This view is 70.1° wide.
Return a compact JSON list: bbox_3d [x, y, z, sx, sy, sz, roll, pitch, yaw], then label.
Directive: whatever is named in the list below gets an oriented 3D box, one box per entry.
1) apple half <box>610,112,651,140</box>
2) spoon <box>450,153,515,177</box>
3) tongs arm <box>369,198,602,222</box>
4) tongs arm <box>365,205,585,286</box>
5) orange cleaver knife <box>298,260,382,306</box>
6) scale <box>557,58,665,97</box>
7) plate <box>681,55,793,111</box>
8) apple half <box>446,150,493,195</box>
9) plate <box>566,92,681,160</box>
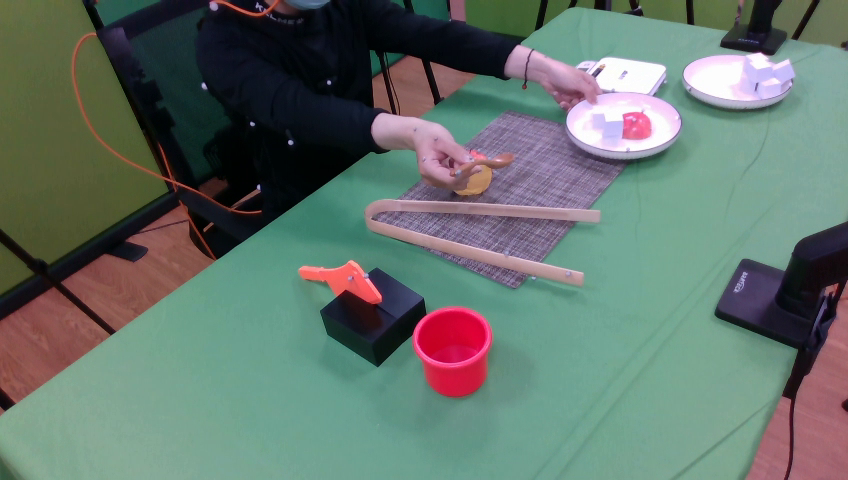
[{"bbox_3d":[0.391,-0.222,1.140,0.081,0.033,0.081,-2,43,3],"label":"apple half"},{"bbox_3d":[0.081,-0.107,0.855,0.041,0.021,0.195,1,10,30],"label":"spoon"},{"bbox_3d":[0.097,-0.048,1.008,0.386,0.028,0.028,3,46,13],"label":"tongs arm"},{"bbox_3d":[0.067,0.004,0.950,0.382,0.026,0.051,13,45,23],"label":"tongs arm"},{"bbox_3d":[-0.126,0.063,0.876,0.012,0.077,0.210,-38,19,-30],"label":"orange cleaver knife"},{"bbox_3d":[0.407,-0.348,1.314,0.199,0.032,0.149,19,47,28],"label":"scale"},{"bbox_3d":[0.636,-0.317,1.239,0.207,0.039,0.206,-4,40,4],"label":"plate"},{"bbox_3d":[0.080,-0.124,1.065,0.081,0.075,0.053,-6,36,7],"label":"apple half"},{"bbox_3d":[0.372,-0.211,1.139,0.209,0.038,0.208,-4,43,5],"label":"plate"}]
